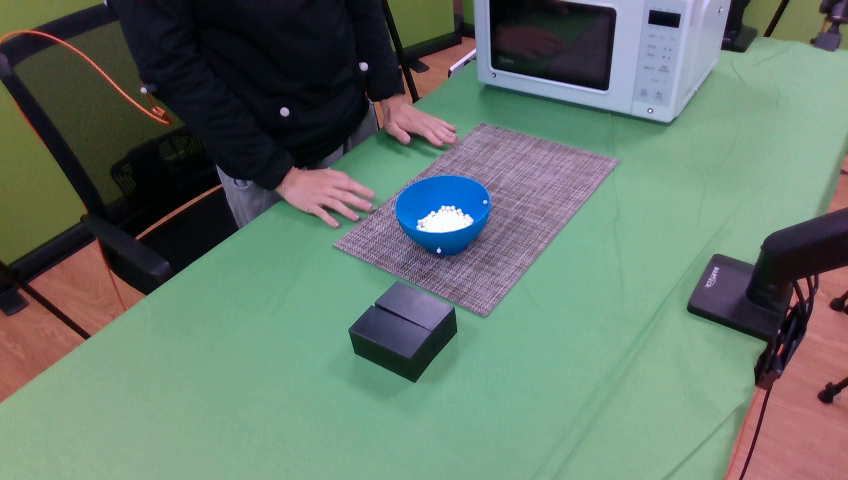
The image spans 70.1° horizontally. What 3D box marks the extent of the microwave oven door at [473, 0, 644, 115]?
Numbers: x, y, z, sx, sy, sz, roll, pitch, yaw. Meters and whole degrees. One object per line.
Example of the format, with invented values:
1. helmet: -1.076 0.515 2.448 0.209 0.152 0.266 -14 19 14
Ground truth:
1. microwave oven door: 0.257 -0.396 1.199 0.353 0.245 0.039 21 48 29

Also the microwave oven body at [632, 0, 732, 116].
1. microwave oven body: 0.377 -0.462 1.267 0.438 0.261 0.327 21 48 30

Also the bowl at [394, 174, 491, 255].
1. bowl: 0.032 -0.030 0.949 0.151 0.077 0.150 -4 40 4

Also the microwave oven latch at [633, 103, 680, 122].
1. microwave oven latch: 0.443 -0.249 1.157 0.078 0.029 0.030 21 48 30
